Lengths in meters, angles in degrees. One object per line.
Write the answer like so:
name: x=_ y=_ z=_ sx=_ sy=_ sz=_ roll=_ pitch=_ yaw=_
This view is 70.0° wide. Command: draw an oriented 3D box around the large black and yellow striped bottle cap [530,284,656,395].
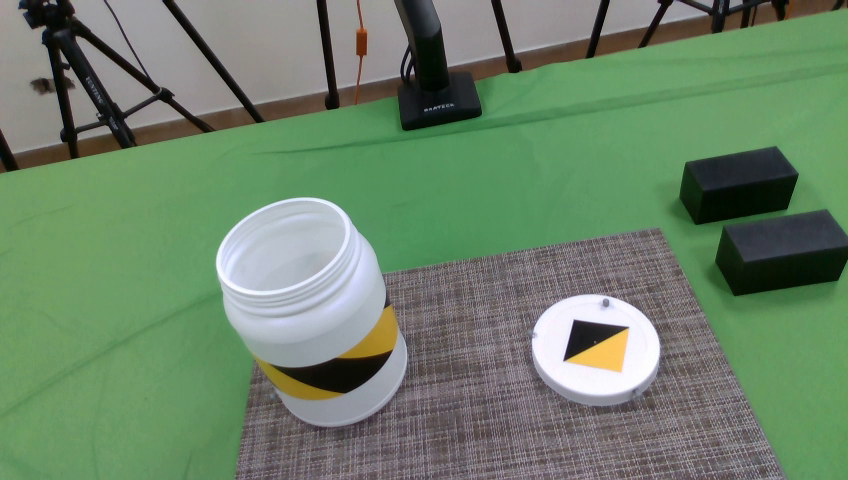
large black and yellow striped bottle cap: x=0.157 y=0.090 z=0.567 sx=0.115 sy=0.019 sz=0.114 roll=-6 pitch=47 yaw=7

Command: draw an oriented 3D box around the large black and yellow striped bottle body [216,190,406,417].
large black and yellow striped bottle body: x=-0.095 y=0.058 z=0.537 sx=0.130 sy=0.186 sz=0.129 roll=-7 pitch=46 yaw=7
